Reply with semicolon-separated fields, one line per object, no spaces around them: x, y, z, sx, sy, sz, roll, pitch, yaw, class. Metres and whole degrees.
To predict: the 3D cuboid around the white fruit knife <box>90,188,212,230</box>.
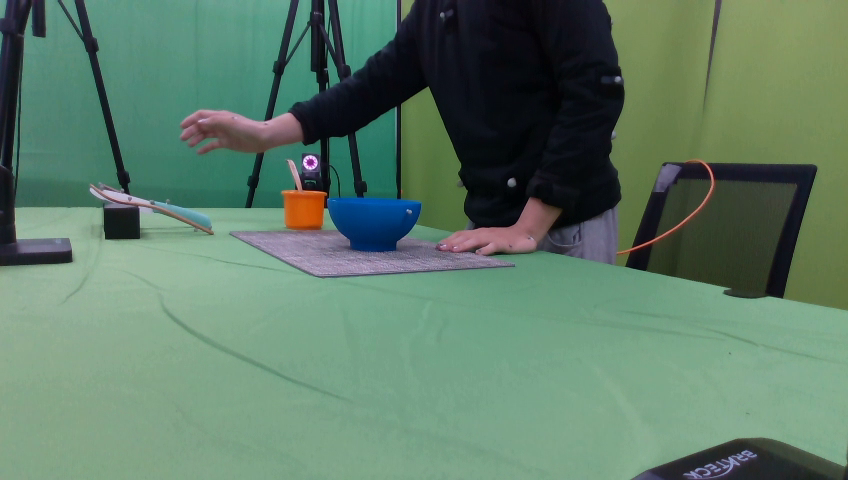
-0.478;-0.058;1.073;0.208;0.027;0.016;17;-5;-30;white fruit knife

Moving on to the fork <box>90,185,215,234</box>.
-0.452;-0.049;1.018;0.208;0.018;0.028;21;-5;-33;fork

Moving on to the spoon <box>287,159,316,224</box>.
-0.261;-0.104;1.264;0.042;0.193;0.021;-1;-37;-28;spoon

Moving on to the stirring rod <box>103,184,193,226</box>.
-0.507;-0.063;1.129;0.177;0.006;0.014;27;1;-31;stirring rod

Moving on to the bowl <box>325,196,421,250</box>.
-0.081;-0.027;0.957;0.151;0.077;0.151;2;7;0;bowl
